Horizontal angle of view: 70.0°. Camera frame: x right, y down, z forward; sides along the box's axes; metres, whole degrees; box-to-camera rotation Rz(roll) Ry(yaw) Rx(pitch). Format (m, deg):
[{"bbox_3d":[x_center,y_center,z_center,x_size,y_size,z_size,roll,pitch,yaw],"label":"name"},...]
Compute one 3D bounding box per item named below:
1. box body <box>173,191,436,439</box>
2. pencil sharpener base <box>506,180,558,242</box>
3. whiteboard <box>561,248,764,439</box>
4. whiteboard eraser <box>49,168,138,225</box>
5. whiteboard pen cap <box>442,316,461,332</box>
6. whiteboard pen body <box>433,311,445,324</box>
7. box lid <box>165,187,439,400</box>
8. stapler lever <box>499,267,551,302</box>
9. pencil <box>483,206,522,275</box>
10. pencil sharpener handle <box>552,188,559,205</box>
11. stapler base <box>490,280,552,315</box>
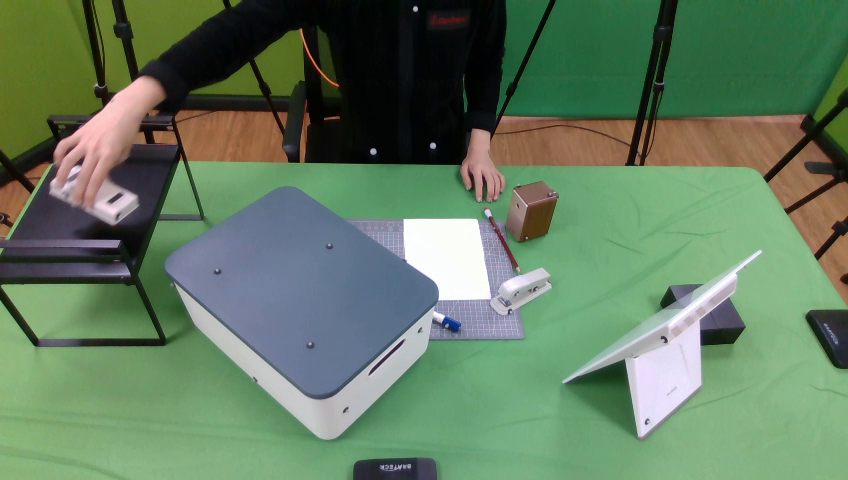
[{"bbox_3d":[-0.191,0.110,0.979,0.362,0.161,0.254,33,53,24],"label":"box body"},{"bbox_3d":[0.216,-0.059,1.211,0.077,0.107,0.061,-16,49,-19],"label":"pencil sharpener base"},{"bbox_3d":[0.386,0.176,0.905,0.217,0.306,0.143,-26,72,-27],"label":"whiteboard"},{"bbox_3d":[-0.496,-0.063,0.911,0.112,0.042,0.055,25,38,3],"label":"whiteboard eraser"},{"bbox_3d":[0.048,0.146,1.059,0.033,0.018,0.018,24,49,16],"label":"whiteboard pen cap"},{"bbox_3d":[-0.004,0.123,1.074,0.140,0.017,0.017,24,49,15],"label":"whiteboard pen body"},{"bbox_3d":[-0.186,0.060,0.925,0.370,0.015,0.263,32,53,25],"label":"box lid"},{"bbox_3d":[0.185,0.076,1.101,0.118,0.040,0.026,-25,57,-29],"label":"stapler lever"},{"bbox_3d":[0.158,-0.001,1.218,0.012,0.012,0.192,-11,48,-14],"label":"pencil"},{"bbox_3d":[0.261,-0.084,1.221,0.031,0.068,0.036,-16,66,-19],"label":"pencil sharpener handle"},{"bbox_3d":[0.181,0.094,1.118,0.130,0.024,0.041,-24,56,-29],"label":"stapler base"}]
